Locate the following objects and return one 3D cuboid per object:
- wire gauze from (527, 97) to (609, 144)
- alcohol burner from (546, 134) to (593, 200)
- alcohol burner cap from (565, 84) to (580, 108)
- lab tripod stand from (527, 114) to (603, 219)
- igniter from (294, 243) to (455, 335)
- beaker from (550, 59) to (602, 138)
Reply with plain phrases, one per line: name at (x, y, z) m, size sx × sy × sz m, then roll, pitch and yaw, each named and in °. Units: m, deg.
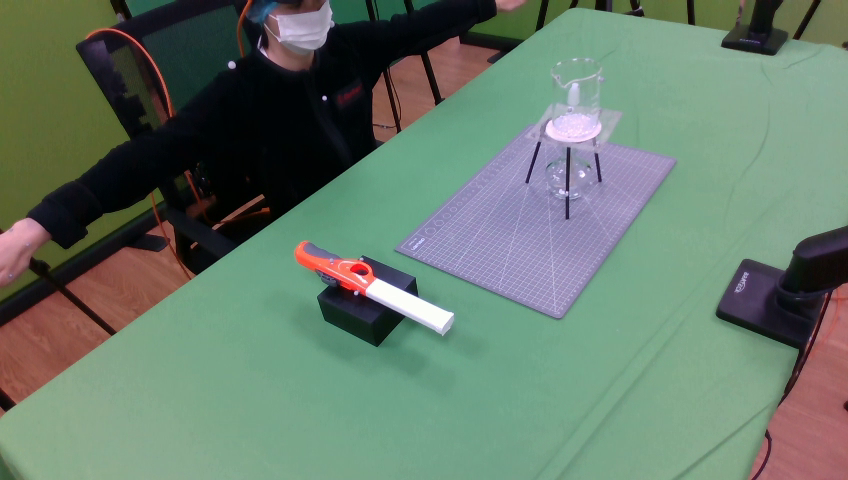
wire gauze at (0.225, -0.187, 0.945) m, size 0.121 × 0.011 × 0.124 m, roll 4°, pitch 45°, yaw 12°
alcohol burner at (0.243, -0.126, 1.011) m, size 0.078 × 0.119 × 0.077 m, roll -5°, pitch 42°, yaw 5°
alcohol burner cap at (0.315, -0.307, 1.278) m, size 0.034 × 0.048 × 0.033 m, roll -4°, pitch 42°, yaw 5°
lab tripod stand at (0.234, -0.129, 1.002) m, size 0.148 × 0.132 × 0.147 m, roll -6°, pitch 40°, yaw 6°
igniter at (-0.079, 0.062, 0.837) m, size 0.274 × 0.025 × 0.057 m, roll 22°, pitch 49°, yaw 27°
beaker at (0.230, -0.212, 0.922) m, size 0.073 × 0.101 × 0.084 m, roll 16°, pitch 46°, yaw 31°
